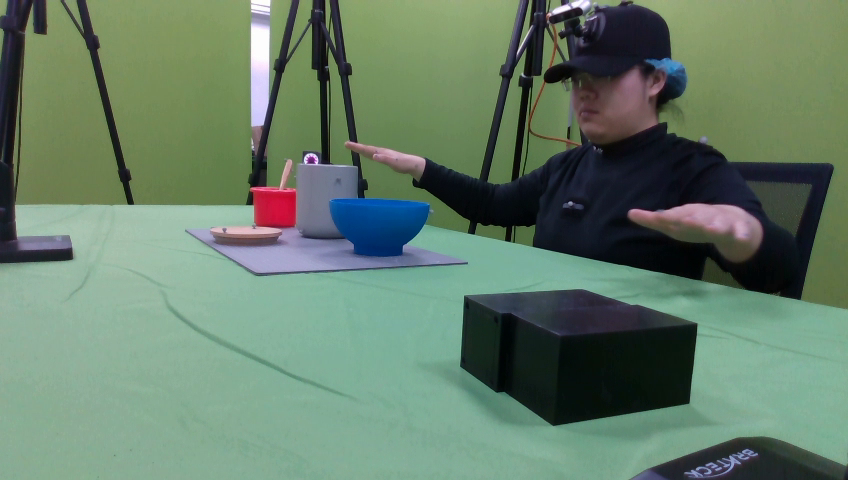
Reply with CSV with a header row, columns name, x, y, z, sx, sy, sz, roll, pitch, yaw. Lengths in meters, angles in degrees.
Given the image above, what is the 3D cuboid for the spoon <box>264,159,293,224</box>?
name,x,y,z,sx,sy,sz,roll,pitch,yaw
spoon,-0.288,-0.102,1.227,0.041,0.021,0.193,1,51,3

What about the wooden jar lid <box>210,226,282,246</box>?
name,x,y,z,sx,sy,sz,roll,pitch,yaw
wooden jar lid,-0.279,-0.007,0.951,0.108,0.020,0.108,2,8,0

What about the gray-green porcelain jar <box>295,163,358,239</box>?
name,x,y,z,sx,sy,sz,roll,pitch,yaw
gray-green porcelain jar,-0.170,-0.069,1.054,0.106,0.126,0.106,3,7,0

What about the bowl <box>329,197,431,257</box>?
name,x,y,z,sx,sy,sz,roll,pitch,yaw
bowl,-0.067,-0.019,0.895,0.151,0.077,0.151,3,7,0
